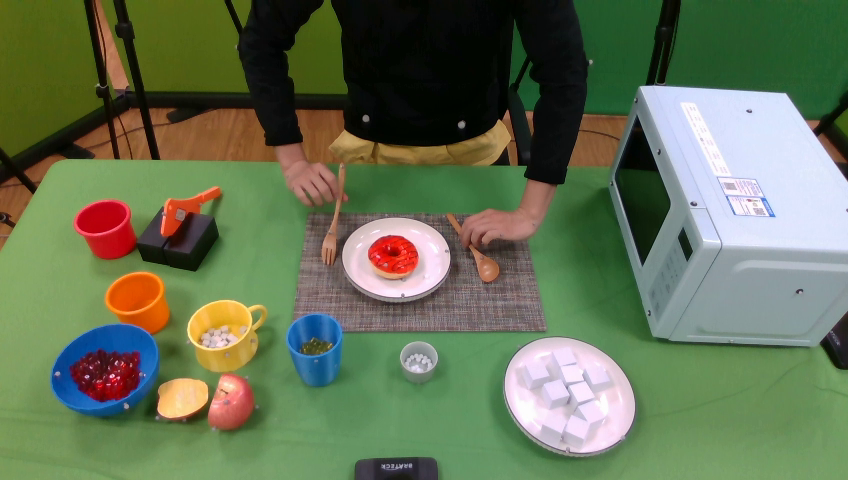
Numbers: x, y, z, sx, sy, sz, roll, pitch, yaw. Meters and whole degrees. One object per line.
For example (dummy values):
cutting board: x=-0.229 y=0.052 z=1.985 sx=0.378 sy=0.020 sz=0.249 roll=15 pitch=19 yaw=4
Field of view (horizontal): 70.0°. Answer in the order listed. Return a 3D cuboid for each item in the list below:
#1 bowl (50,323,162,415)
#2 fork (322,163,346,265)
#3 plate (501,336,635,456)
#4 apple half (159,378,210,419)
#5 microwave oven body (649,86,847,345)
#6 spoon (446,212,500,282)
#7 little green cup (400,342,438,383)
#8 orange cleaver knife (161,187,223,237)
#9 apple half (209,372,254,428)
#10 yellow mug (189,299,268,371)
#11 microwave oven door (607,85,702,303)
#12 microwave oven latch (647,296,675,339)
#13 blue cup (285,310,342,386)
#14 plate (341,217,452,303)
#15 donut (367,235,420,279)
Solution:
bowl: x=-0.472 y=0.209 z=0.924 sx=0.151 sy=0.077 sz=0.150 roll=3 pitch=45 yaw=-2
fork: x=-0.171 y=-0.052 z=1.170 sx=0.028 sy=0.018 sz=0.207 roll=14 pitch=78 yaw=-27
plate: x=0.225 y=0.248 z=0.963 sx=0.208 sy=0.039 sz=0.206 roll=2 pitch=46 yaw=-2
apple half: x=-0.366 y=0.247 z=0.926 sx=0.081 sy=0.033 sz=0.081 roll=8 pitch=31 yaw=-5
microwave oven body: x=0.568 y=-0.053 z=1.118 sx=0.326 sy=0.261 sz=0.439 roll=2 pitch=45 yaw=-1
spoon: x=0.091 y=0.008 z=1.179 sx=0.041 sy=0.022 sz=0.192 roll=-43 pitch=57 yaw=15
little green cup: x=-0.010 y=0.202 z=0.991 sx=0.061 sy=0.039 sz=0.061 roll=2 pitch=47 yaw=-2
orange cleaver knife: x=-0.448 y=-0.058 z=1.181 sx=0.012 sy=0.077 sz=0.211 roll=13 pitch=17 yaw=6
apple half: x=-0.282 y=0.243 z=0.908 sx=0.053 sy=0.075 sz=0.080 roll=7 pitch=42 yaw=-2
yellow mug: x=-0.316 y=0.148 z=1.002 sx=0.131 sy=0.064 sz=0.099 roll=-32 pitch=56 yaw=-31
microwave oven door: x=0.423 y=-0.094 z=1.141 sx=0.039 sy=0.245 sz=0.353 roll=2 pitch=46 yaw=-1
microwave oven latch: x=0.413 y=0.134 z=1.061 sx=0.030 sy=0.029 sz=0.078 roll=4 pitch=45 yaw=2
blue cup: x=-0.170 y=0.179 z=0.958 sx=0.093 sy=0.101 sz=0.092 roll=2 pitch=44 yaw=-2
plate: x=-0.052 y=0.039 z=1.140 sx=0.209 sy=0.038 sz=0.208 roll=2 pitch=46 yaw=-2
donut: x=-0.056 y=0.032 z=1.131 sx=0.099 sy=0.048 sz=0.098 roll=3 pitch=45 yaw=-3
